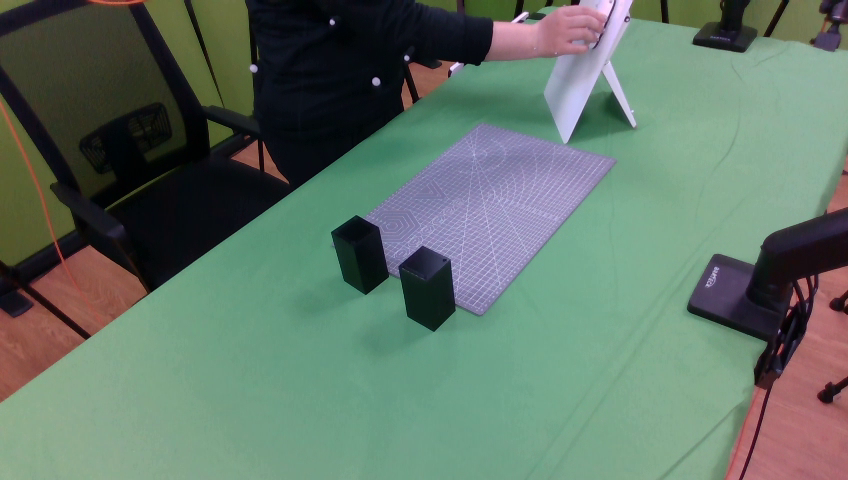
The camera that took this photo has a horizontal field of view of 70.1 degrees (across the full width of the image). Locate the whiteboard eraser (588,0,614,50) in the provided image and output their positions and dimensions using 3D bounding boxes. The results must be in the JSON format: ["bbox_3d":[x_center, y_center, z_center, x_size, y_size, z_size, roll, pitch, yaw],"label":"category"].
[{"bbox_3d":[0.314,-0.387,1.076,0.019,0.101,0.041,-4,40,-9],"label":"whiteboard eraser"}]

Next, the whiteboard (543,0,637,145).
[{"bbox_3d":[0.366,-0.351,1.161,0.144,0.306,0.216,9,39,-9],"label":"whiteboard"}]
